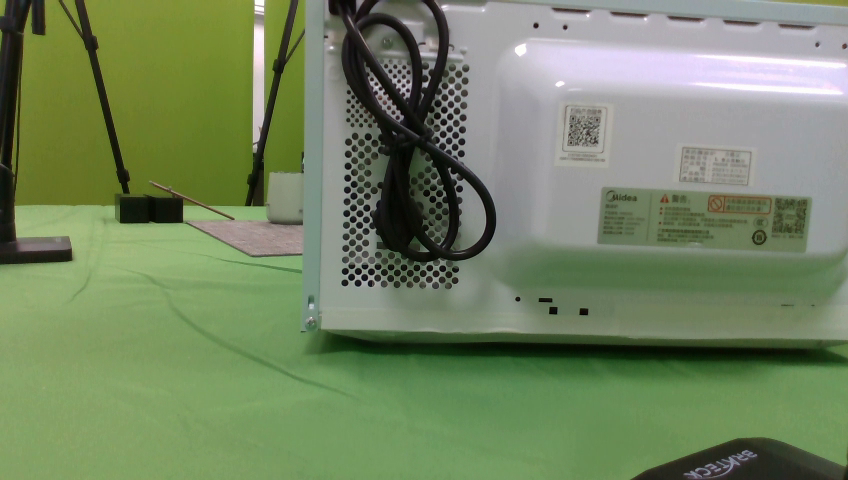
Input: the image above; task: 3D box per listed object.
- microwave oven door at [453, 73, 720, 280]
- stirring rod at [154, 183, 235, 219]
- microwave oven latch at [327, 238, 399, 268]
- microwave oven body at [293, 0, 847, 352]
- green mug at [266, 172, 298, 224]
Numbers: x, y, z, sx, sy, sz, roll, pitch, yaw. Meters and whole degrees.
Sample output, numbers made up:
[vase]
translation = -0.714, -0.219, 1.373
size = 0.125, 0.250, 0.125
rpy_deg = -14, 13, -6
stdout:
[microwave oven door]
translation = 0.196, -0.091, 0.815
size = 0.354, 0.243, 0.039
rpy_deg = 8, 8, 39
[stirring rod]
translation = -0.472, -0.079, 1.252
size = 0.177, 0.006, 0.014
rpy_deg = 27, 4, -35
[microwave oven latch]
translation = -0.069, 0.015, 0.694
size = 0.079, 0.029, 0.030
rpy_deg = 3, 7, -3
[microwave oven body]
translation = 0.122, -0.055, 0.550
size = 0.442, 0.260, 0.325
rpy_deg = 3, 7, -5
[green mug]
translation = -0.272, -0.089, 1.271
size = 0.092, 0.105, 0.126
rpy_deg = 7, 8, 33
